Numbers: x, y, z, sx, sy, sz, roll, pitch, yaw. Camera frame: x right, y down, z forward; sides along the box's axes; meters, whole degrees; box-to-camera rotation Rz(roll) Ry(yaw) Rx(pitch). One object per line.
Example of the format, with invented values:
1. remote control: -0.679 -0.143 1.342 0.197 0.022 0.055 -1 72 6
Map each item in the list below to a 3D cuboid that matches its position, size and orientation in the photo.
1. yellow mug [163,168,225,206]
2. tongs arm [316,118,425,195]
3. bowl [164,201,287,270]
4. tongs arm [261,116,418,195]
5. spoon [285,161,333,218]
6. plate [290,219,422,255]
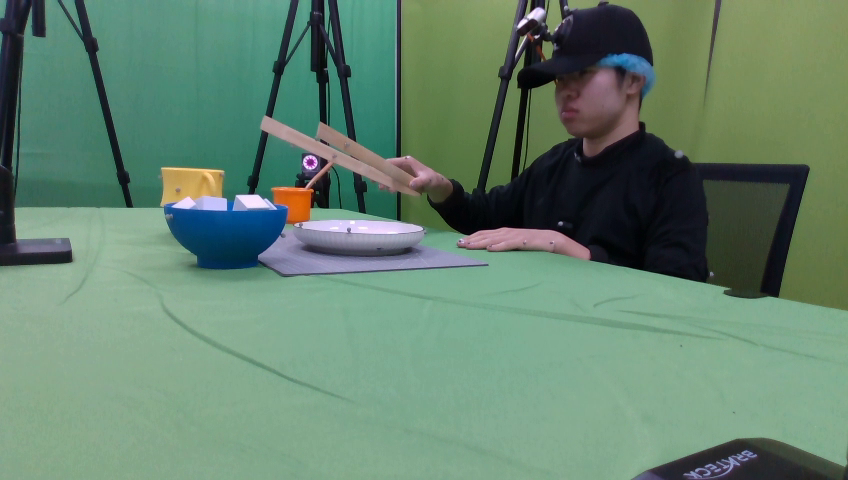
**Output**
1. yellow mug: -0.383 -0.087 1.026 0.130 0.064 0.100 11 11 44
2. tongs arm: -0.083 -0.143 1.116 0.028 0.027 0.389 4 -9 27
3. bowl: -0.254 -0.006 0.782 0.151 0.077 0.151 2 8 0
4. tongs arm: -0.142 -0.153 1.157 0.050 0.026 0.387 6 -9 38
5. spoon: -0.262 -0.115 1.359 0.041 0.194 0.022 12 -33 38
6. plate: -0.108 -0.005 0.963 0.208 0.039 0.207 3 7 0
